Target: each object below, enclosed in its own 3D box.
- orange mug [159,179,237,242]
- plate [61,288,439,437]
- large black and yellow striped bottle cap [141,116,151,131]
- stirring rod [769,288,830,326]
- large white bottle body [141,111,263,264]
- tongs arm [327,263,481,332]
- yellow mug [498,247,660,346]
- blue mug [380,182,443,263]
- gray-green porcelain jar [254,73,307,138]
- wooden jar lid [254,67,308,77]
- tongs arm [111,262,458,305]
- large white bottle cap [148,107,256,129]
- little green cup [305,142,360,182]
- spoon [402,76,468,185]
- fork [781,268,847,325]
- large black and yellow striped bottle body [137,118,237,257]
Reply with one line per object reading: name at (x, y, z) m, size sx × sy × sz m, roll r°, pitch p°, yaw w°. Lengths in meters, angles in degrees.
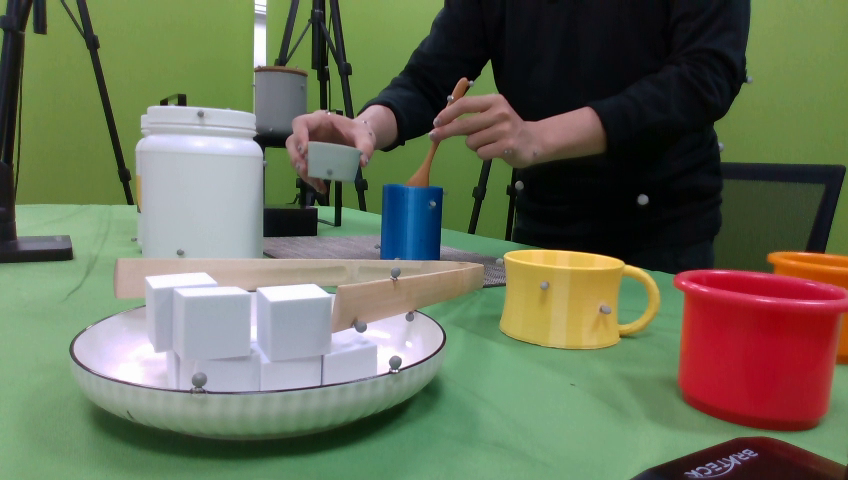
orange mug at (-0.368, -0.051, 0.991) m, size 0.127 × 0.101 × 0.083 m, roll -10°, pitch 14°, yaw -41°
plate at (-0.095, 0.069, 0.362) m, size 0.208 × 0.039 × 0.207 m, roll 3°, pitch 7°, yaw 0°
large black and yellow striped bottle cap at (-0.328, -0.158, 0.837) m, size 0.115 × 0.019 × 0.115 m, roll 2°, pitch 6°, yaw 0°
stirring rod at (0.349, 0.022, 0.468) m, size 0.014 × 0.006 × 0.175 m, roll -13°, pitch -26°, yaw -50°
large white bottle body at (-0.254, -0.054, 0.697) m, size 0.131 × 0.184 × 0.130 m, roll 2°, pitch 7°, yaw 0°
tongs arm at (-0.003, 0.036, 0.493) m, size 0.050 × 0.026 × 0.386 m, roll 1°, pitch -1°, yaw 19°
yellow mug at (0.130, 0.045, 0.508) m, size 0.131 × 0.064 × 0.100 m, roll 4°, pitch 7°, yaw 6°
blue mug at (-0.019, -0.026, 0.832) m, size 0.082 × 0.106 × 0.116 m, roll 1°, pitch 8°, yaw -5°
gray-green porcelain jar at (-0.298, -0.277, 1.259) m, size 0.106 × 0.126 × 0.106 m, roll 3°, pitch 7°, yaw 0°
wooden jar lid at (-0.296, -0.339, 1.250) m, size 0.108 × 0.020 × 0.108 m, roll 1°, pitch 7°, yaw 0°
tongs arm at (-0.080, 0.033, 0.527) m, size 0.028 × 0.027 × 0.389 m, roll -3°, pitch -4°, yaw 33°
large white bottle cap at (-0.250, -0.137, 0.686) m, size 0.115 × 0.018 × 0.115 m, roll 3°, pitch 8°, yaw 0°
little green cup at (-0.105, -0.088, 0.684) m, size 0.061 × 0.038 × 0.061 m, roll 9°, pitch 5°, yaw 0°
spoon at (0.010, -0.118, 0.772) m, size 0.042 × 0.193 × 0.021 m, roll 22°, pitch 15°, yaw -7°
fork at (0.324, 0.018, 0.441) m, size 0.028 × 0.018 × 0.207 m, roll -3°, pitch -36°, yaw -5°
large black and yellow striped bottle body at (-0.330, -0.075, 0.849) m, size 0.131 × 0.184 × 0.130 m, roll 2°, pitch 8°, yaw 0°
